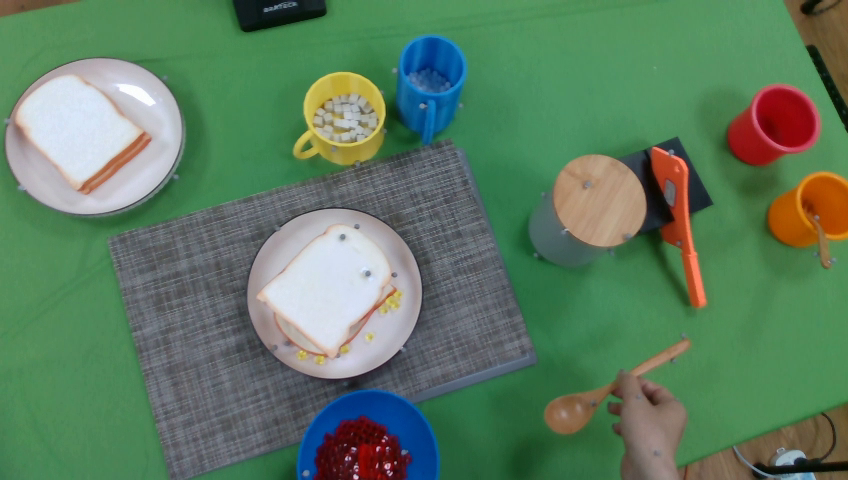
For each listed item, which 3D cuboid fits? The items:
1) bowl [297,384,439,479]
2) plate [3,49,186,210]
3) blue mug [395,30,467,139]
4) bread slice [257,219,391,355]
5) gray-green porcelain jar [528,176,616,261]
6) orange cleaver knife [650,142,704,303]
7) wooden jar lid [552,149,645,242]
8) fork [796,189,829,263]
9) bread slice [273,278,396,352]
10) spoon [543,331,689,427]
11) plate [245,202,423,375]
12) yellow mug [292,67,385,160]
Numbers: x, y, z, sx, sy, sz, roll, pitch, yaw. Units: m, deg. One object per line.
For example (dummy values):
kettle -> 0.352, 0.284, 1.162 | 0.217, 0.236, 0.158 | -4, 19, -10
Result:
bowl -> -0.062, 0.237, 0.677 | 0.151, 0.077, 0.150 | 2, 77, -6
plate -> -0.398, -0.133, 0.747 | 0.208, 0.039, 0.206 | 2, 77, -6
blue mug -> 0.005, -0.187, 0.769 | 0.082, 0.106, 0.116 | 3, 76, -5
bread slice -> -0.104, 0.042, 0.673 | 0.107, 0.018, 0.134 | 38, 69, -3
gray-green porcelain jar -> 0.189, -0.033, 0.742 | 0.106, 0.127, 0.105 | 2, 76, -6
orange cleaver knife -> 0.322, -0.022, 0.776 | 0.012, 0.076, 0.212 | -19, 106, -10
wooden jar lid -> 0.194, -0.049, 0.681 | 0.108, 0.021, 0.108 | 2, 78, -8
fork -> 0.488, -0.020, 0.759 | 0.028, 0.018, 0.207 | 46, 33, -1
bread slice -> -0.113, 0.069, 0.730 | 0.105, 0.019, 0.131 | 38, 74, 4
spoon -> 0.219, 0.152, 0.679 | 0.194, 0.022, 0.041 | -29, 53, -6
plate -> -0.106, 0.057, 0.730 | 0.209, 0.038, 0.208 | 1, 77, -6
yellow mug -> -0.112, -0.150, 0.768 | 0.131, 0.064, 0.099 | -38, 83, -12
